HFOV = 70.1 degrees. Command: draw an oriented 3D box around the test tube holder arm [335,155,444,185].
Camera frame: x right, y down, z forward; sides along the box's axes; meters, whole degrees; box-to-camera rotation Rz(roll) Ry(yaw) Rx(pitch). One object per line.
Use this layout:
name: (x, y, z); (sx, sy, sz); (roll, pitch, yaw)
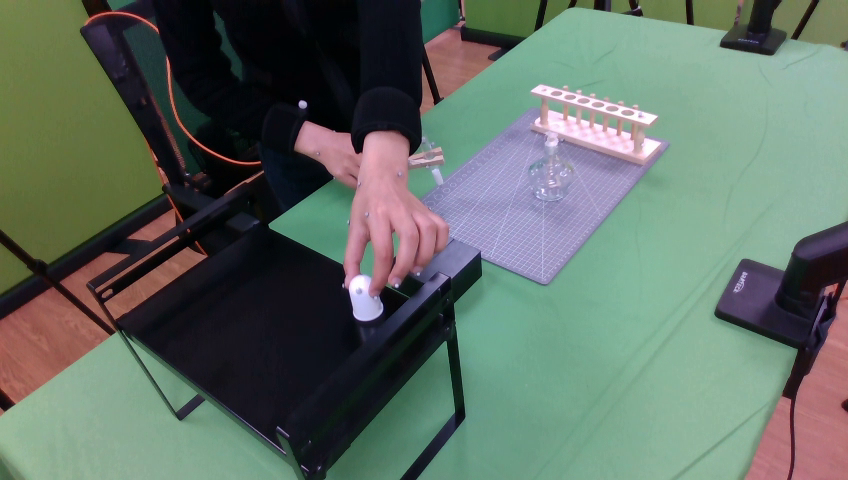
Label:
test tube holder arm: (-0.056, -0.112, 0.966); (0.178, 0.015, 0.013); (-12, 57, 8)

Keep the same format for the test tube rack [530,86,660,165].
test tube rack: (0.320, -0.226, 1.140); (0.240, 0.085, 0.067); (27, 51, 34)

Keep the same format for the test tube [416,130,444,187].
test tube: (0.011, -0.127, 0.965); (0.017, 0.151, 0.017); (-5, 64, 11)

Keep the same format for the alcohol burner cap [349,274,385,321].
alcohol burner cap: (-0.059, 0.056, 0.615); (0.034, 0.048, 0.033); (-5, 41, 4)

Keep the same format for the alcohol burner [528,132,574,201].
alcohol burner: (0.214, -0.126, 1.016); (0.078, 0.119, 0.077); (-5, 38, 5)

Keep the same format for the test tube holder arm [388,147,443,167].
test tube holder arm: (-0.013, -0.127, 0.964); (0.088, 0.015, 0.010); (-18, 57, 4)
